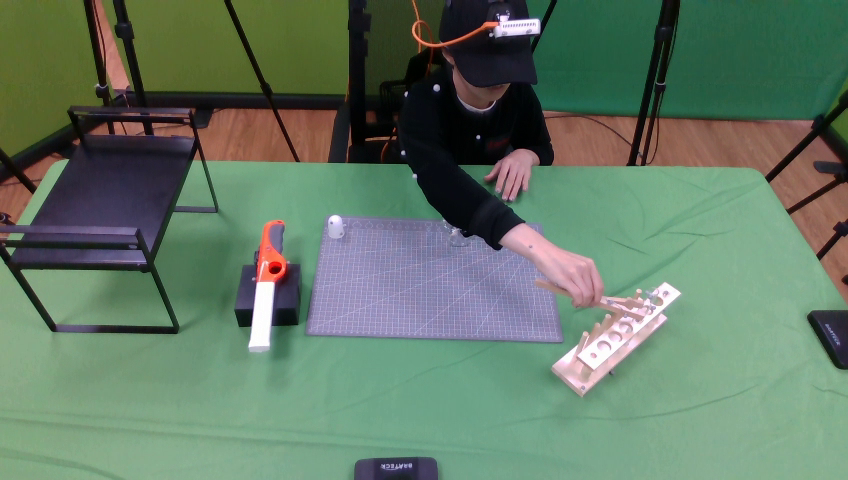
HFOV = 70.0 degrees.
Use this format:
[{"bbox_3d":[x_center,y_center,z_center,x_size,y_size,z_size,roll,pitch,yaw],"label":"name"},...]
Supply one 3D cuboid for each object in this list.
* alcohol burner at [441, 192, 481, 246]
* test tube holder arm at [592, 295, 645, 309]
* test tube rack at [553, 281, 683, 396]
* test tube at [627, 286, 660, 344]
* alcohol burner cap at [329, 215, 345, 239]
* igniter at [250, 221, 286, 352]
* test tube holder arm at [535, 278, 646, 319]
[{"bbox_3d":[0.074,-0.046,1.176,0.078,0.119,0.077,3,44,-2],"label":"alcohol burner"},{"bbox_3d":[0.310,0.099,0.972,0.088,0.015,0.010,5,43,-5],"label":"test tube holder arm"},{"bbox_3d":[0.329,0.153,1.023,0.242,0.085,0.066,-30,54,-28],"label":"test tube rack"},{"bbox_3d":[0.353,0.124,0.983,0.017,0.151,0.017,1,49,-1],"label":"test tube"},{"bbox_3d":[-0.172,-0.028,1.192,0.034,0.048,0.033,1,47,-1],"label":"alcohol burner cap"},{"bbox_3d":[-0.269,0.068,1.042,0.057,0.025,0.274,0,48,-7],"label":"igniter"},{"bbox_3d":[0.266,0.094,0.970,0.178,0.015,0.013,16,42,7],"label":"test tube holder arm"}]
